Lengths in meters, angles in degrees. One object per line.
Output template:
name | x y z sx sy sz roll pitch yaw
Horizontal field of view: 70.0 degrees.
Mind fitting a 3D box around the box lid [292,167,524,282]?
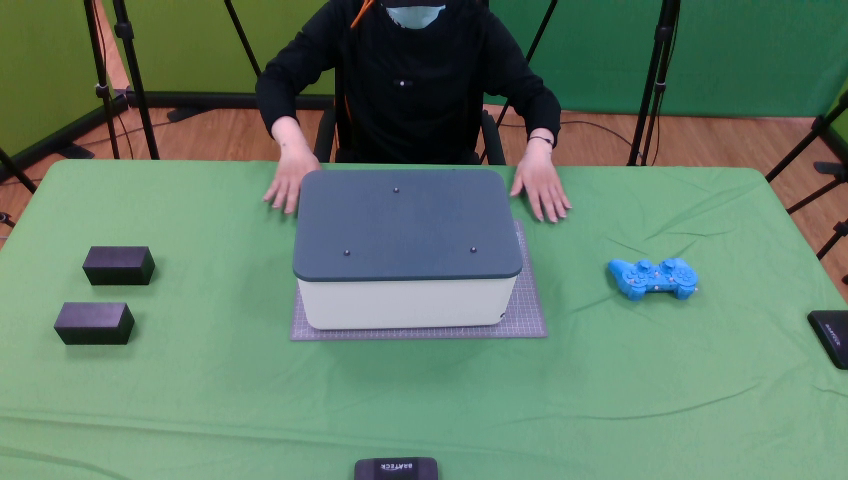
box lid | -0.027 -0.035 1.021 0.372 0.015 0.261 -1 47 -5

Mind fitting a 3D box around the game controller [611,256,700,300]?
game controller | 0.441 0.062 1.144 0.155 0.052 0.096 -1 50 -4

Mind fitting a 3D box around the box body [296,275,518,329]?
box body | -0.032 0.016 1.075 0.364 0.161 0.252 -1 47 -5
